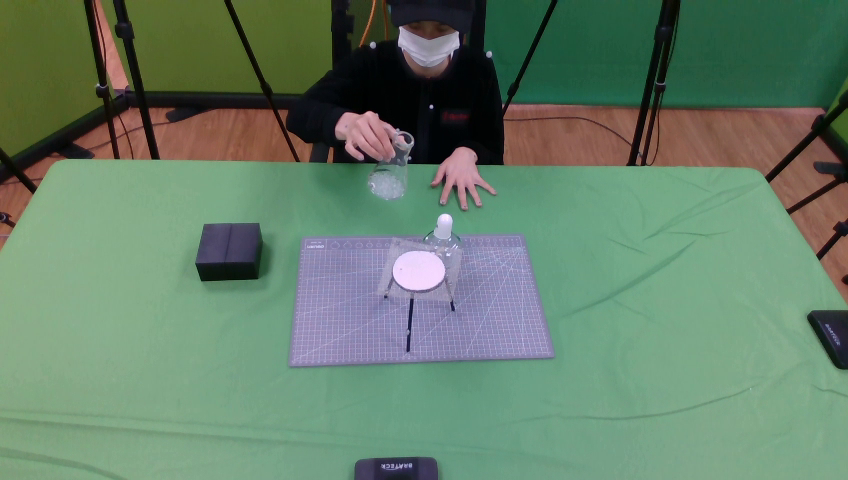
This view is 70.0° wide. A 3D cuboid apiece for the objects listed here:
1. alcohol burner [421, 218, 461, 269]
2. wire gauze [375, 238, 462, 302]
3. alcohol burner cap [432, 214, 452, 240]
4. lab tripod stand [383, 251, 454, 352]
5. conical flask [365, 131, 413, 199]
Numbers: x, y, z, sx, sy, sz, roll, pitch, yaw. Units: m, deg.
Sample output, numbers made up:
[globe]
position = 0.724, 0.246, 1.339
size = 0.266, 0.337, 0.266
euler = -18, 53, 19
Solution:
[alcohol burner]
position = 0.033, -0.001, 1.135
size = 0.078, 0.119, 0.077
euler = 3, 48, -3
[wire gauze]
position = -0.006, 0.048, 0.977
size = 0.121, 0.011, 0.124
euler = 9, 45, 5
[alcohol burner cap]
position = 0.035, -0.027, 1.110
size = 0.034, 0.048, 0.033
euler = 7, 42, -6
[lab tripod stand]
position = -0.015, 0.094, 1.025
size = 0.148, 0.132, 0.147
euler = 1, 46, -1
[conical flask]
position = -0.054, -0.135, 1.070
size = 0.075, 0.122, 0.075
euler = 13, 48, -14
